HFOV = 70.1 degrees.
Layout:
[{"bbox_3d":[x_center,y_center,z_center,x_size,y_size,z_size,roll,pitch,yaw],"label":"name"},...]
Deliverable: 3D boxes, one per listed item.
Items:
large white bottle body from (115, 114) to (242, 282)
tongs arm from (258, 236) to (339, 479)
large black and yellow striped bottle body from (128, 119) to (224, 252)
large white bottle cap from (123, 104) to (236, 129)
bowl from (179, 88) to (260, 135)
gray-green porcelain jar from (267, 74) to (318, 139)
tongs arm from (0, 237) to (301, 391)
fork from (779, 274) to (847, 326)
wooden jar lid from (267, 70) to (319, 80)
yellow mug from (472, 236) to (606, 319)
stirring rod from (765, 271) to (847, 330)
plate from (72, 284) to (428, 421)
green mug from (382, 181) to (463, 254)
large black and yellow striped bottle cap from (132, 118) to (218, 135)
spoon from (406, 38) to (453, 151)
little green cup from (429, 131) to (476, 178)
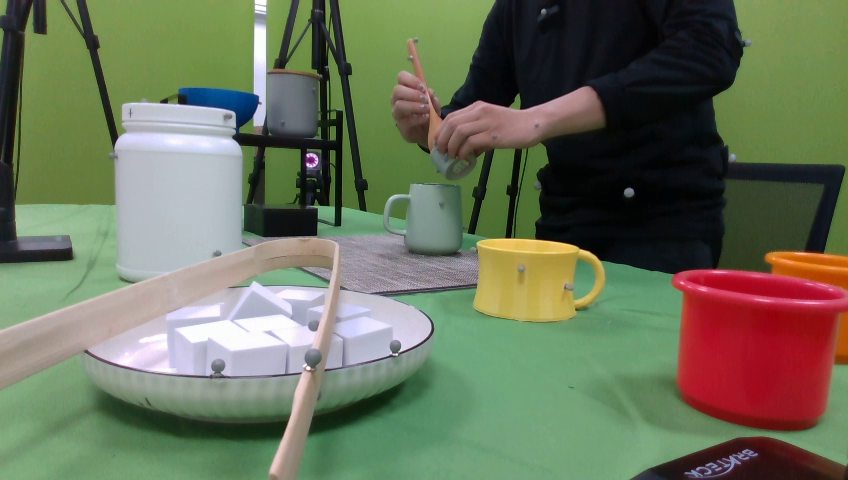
[{"bbox_3d":[-0.270,-0.051,0.673,0.131,0.184,0.130,2,8,0],"label":"large white bottle body"},{"bbox_3d":[-0.074,0.040,0.345,0.051,0.026,0.384,-1,9,-3],"label":"tongs arm"},{"bbox_3d":[-0.361,-0.081,0.887,0.131,0.184,0.130,2,8,0],"label":"large black and yellow striped bottle body"},{"bbox_3d":[-0.266,-0.134,0.663,0.115,0.018,0.115,3,7,0],"label":"large white bottle cap"},{"bbox_3d":[-0.400,-0.248,1.188,0.151,0.077,0.151,2,6,0],"label":"bowl"},{"bbox_3d":[-0.277,-0.279,1.280,0.106,0.126,0.106,2,7,0],"label":"gray-green porcelain jar"},{"bbox_3d":[-0.157,0.038,0.347,0.028,0.028,0.388,-2,8,11],"label":"tongs arm"},{"bbox_3d":[0.332,0.018,0.443,0.028,0.018,0.207,-2,-35,-16],"label":"fork"},{"bbox_3d":[-0.275,-0.339,1.271,0.108,0.020,0.108,5,6,0],"label":"wooden jar lid"},{"bbox_3d":[0.114,0.034,0.590,0.131,0.064,0.100,2,6,-7],"label":"yellow mug"},{"bbox_3d":[0.352,0.020,0.481,0.176,0.006,0.014,-40,-8,17],"label":"stirring rod"},{"bbox_3d":[-0.102,0.067,0.381,0.208,0.039,0.207,2,7,0],"label":"plate"},{"bbox_3d":[-0.001,-0.036,0.922,0.126,0.105,0.092,0,8,-16],"label":"green mug"},{"bbox_3d":[-0.359,-0.164,0.875,0.115,0.019,0.115,2,6,0],"label":"large black and yellow striped bottle cap"},{"bbox_3d":[0.004,-0.207,0.878,0.041,0.193,0.022,-19,-14,5],"label":"spoon"},{"bbox_3d":[0.043,-0.119,0.858,0.062,0.061,0.038,-5,54,-43],"label":"little green cup"}]
